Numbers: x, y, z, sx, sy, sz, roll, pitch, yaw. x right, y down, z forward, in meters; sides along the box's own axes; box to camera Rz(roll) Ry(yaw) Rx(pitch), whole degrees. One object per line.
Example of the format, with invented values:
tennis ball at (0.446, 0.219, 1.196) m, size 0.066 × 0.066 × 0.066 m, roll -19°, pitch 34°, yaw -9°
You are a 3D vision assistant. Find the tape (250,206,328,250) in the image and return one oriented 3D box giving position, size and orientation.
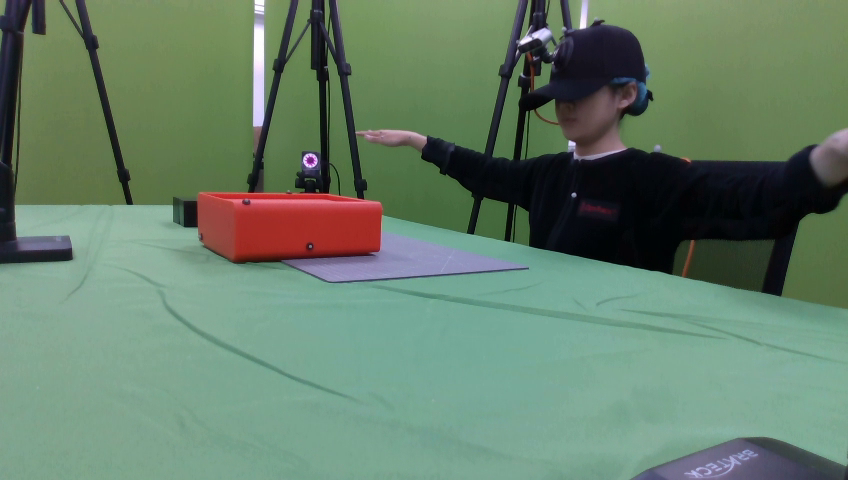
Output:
tape at (-0.202, -0.019, 0.902) m, size 0.117 × 0.052 × 0.117 m, roll 3°, pitch 8°, yaw 0°

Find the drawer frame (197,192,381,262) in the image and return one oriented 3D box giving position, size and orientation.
drawer frame at (-0.202, -0.026, 0.892) m, size 0.215 × 0.082 × 0.200 m, roll -3°, pitch 10°, yaw -34°

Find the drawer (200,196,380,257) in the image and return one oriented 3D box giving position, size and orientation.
drawer at (-0.200, -0.024, 0.893) m, size 0.213 × 0.073 × 0.193 m, roll -3°, pitch 10°, yaw -33°
